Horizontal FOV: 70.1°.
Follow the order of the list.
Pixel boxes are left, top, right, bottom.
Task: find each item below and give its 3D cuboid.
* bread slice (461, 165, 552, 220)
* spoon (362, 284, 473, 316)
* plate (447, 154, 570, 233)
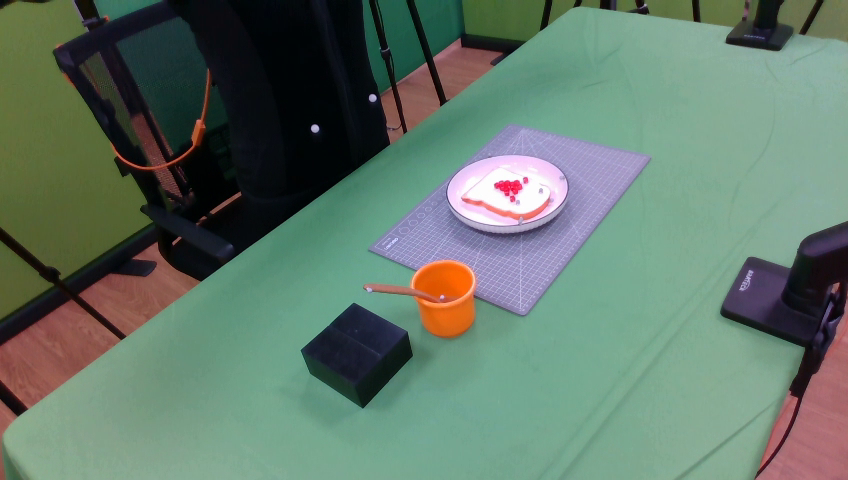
[{"bbox_3d":[0.149,-0.079,1.036,0.133,0.018,0.107,22,50,31],"label":"bread slice"},{"bbox_3d":[-0.005,0.075,0.800,0.021,0.195,0.041,-55,45,15],"label":"spoon"},{"bbox_3d":[0.143,-0.076,1.032,0.209,0.038,0.208,-5,40,5],"label":"plate"}]
